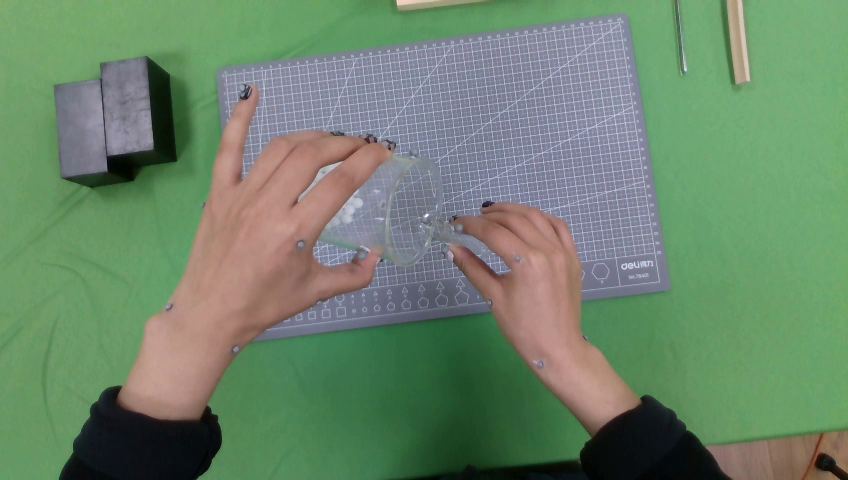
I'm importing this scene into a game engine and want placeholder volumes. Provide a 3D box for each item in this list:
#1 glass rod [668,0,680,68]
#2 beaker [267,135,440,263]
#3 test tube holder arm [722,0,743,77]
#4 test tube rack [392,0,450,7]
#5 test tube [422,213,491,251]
[{"bbox_3d":[0.263,-0.282,0.651,0.008,0.008,0.199,-3,85,2],"label":"glass rod"},{"bbox_3d":[-0.049,-0.031,0.420,0.099,0.084,0.074,15,82,25],"label":"beaker"},{"bbox_3d":[0.323,-0.260,0.639,0.013,0.015,0.178,2,85,-26],"label":"test tube holder arm"},{"bbox_3d":[0.081,-0.306,0.623,0.242,0.085,0.066,-6,84,2],"label":"test tube rack"},{"bbox_3d":[0.032,-0.004,0.505,0.017,0.151,0.017,-2,83,20],"label":"test tube"}]
